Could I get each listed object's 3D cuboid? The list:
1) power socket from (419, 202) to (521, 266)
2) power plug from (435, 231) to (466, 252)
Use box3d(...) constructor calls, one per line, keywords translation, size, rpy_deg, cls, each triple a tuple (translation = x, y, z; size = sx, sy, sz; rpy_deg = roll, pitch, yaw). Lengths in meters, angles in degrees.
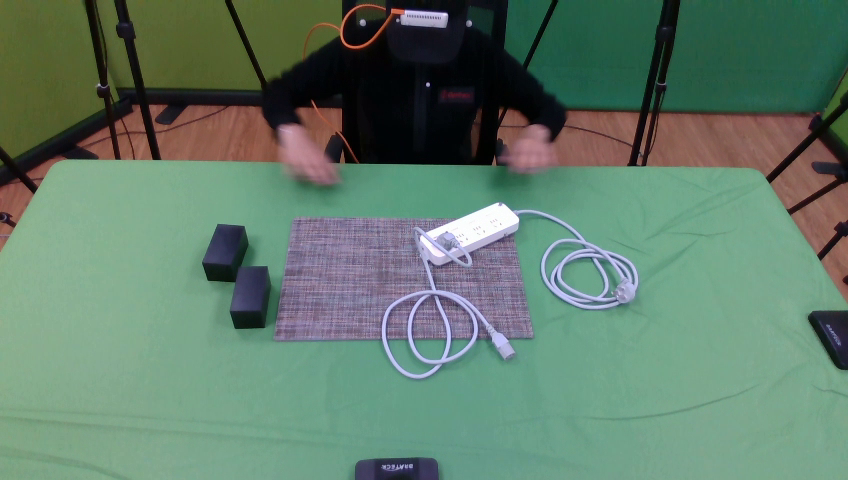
box3d(translation=(0.093, -0.014, 1.204), size=(0.227, 0.033, 0.072), rpy_deg=(-23, 52, -24), cls="power socket")
box3d(translation=(0.047, 0.015, 1.141), size=(0.035, 0.053, 0.072), rpy_deg=(-14, 48, -17), cls="power plug")
